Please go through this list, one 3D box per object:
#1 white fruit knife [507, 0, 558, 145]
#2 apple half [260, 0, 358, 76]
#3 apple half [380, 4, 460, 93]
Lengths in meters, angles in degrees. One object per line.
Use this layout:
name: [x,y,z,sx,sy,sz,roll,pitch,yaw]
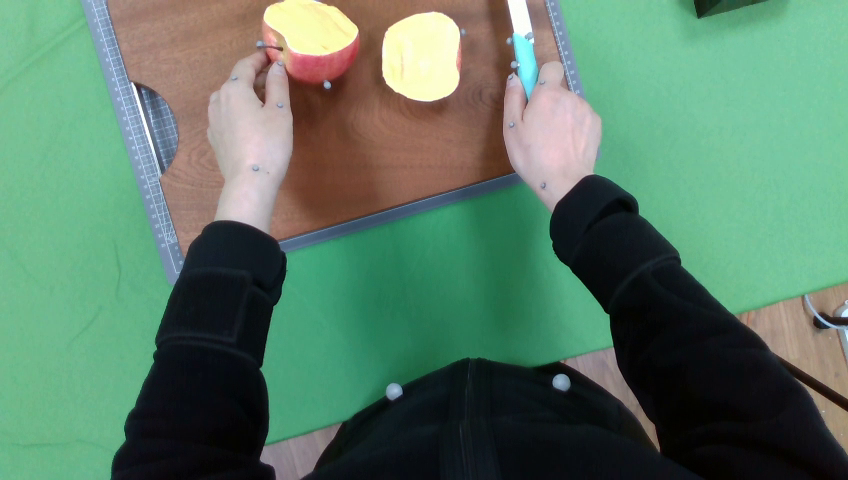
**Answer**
white fruit knife: [0.090,-0.187,0.551,0.027,0.016,0.207,-14,92,-31]
apple half: [-0.103,-0.179,0.544,0.074,0.054,0.080,-35,68,-31]
apple half: [-0.002,-0.176,0.561,0.081,0.032,0.081,2,104,10]
